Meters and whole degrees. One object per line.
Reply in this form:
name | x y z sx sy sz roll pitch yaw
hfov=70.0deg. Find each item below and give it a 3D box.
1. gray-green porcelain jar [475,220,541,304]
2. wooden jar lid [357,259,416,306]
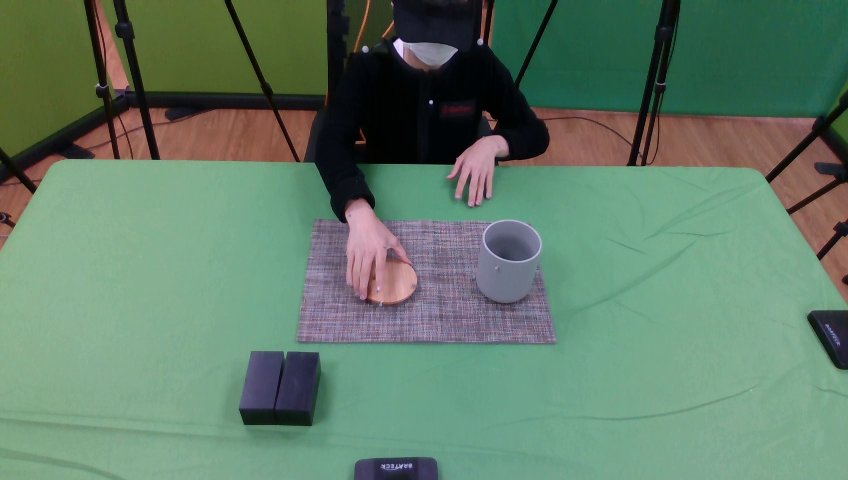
gray-green porcelain jar | 0.148 0.044 1.090 0.106 0.127 0.105 2 46 -2
wooden jar lid | -0.069 0.079 1.113 0.108 0.021 0.107 3 47 -3
